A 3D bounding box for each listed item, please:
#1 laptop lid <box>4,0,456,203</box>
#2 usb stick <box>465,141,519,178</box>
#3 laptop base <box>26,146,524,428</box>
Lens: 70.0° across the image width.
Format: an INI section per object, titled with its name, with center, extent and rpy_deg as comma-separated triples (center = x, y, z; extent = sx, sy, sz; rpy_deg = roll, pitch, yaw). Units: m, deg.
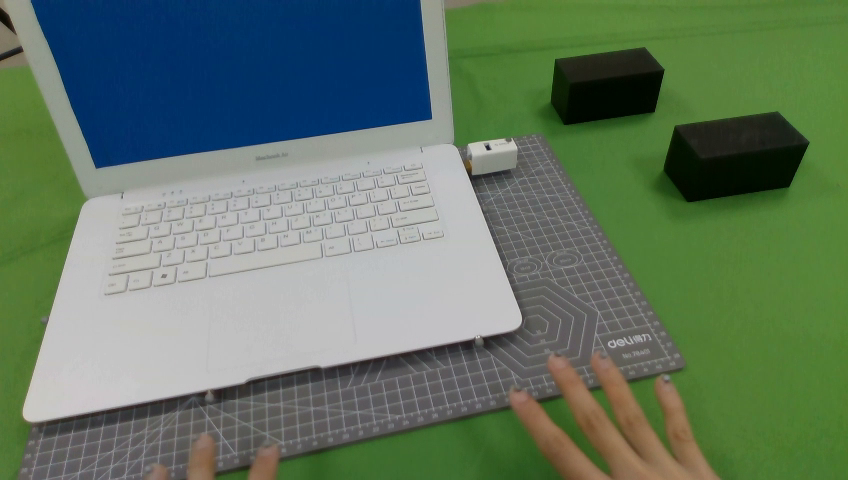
[laptop lid]
center = -0.152, -0.161, 0.530
extent = 0.357, 0.243, 0.013
rpy_deg = -11, 30, -5
[usb stick]
center = 0.059, -0.076, 0.576
extent = 0.059, 0.027, 0.021
rpy_deg = -11, 46, -5
[laptop base]
center = -0.118, 0.021, 0.506
extent = 0.355, 0.023, 0.233
rpy_deg = -10, 48, -6
